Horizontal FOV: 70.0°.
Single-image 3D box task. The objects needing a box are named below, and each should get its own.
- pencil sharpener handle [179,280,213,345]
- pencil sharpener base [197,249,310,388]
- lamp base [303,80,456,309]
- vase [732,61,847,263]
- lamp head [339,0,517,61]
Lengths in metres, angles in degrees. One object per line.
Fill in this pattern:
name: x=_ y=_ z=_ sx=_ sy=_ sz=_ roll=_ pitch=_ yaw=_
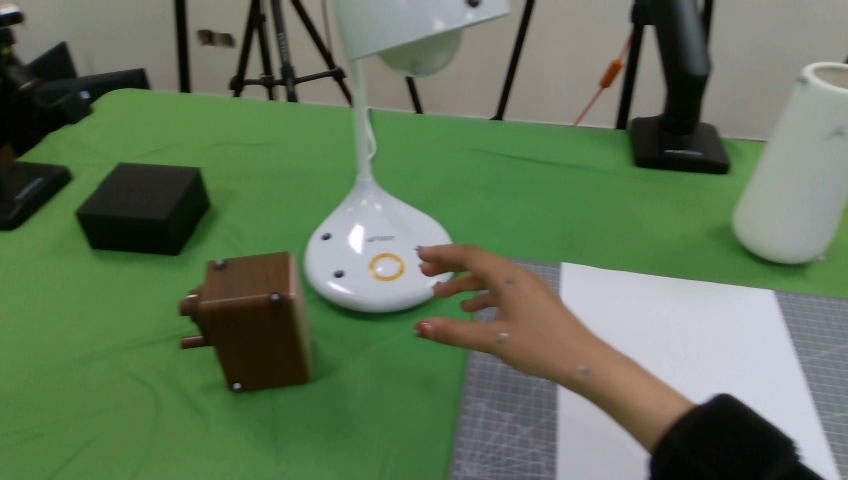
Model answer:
pencil sharpener handle: x=-0.191 y=0.063 z=0.497 sx=0.031 sy=0.068 sz=0.035 roll=-7 pitch=45 yaw=-7
pencil sharpener base: x=-0.141 y=0.068 z=0.511 sx=0.077 sy=0.108 sz=0.060 roll=-7 pitch=40 yaw=-7
lamp base: x=-0.051 y=-0.053 z=0.601 sx=0.161 sy=0.182 sz=0.177 roll=-13 pitch=39 yaw=-16
vase: x=0.388 y=-0.074 z=0.615 sx=0.098 sy=0.202 sz=0.097 roll=-1 pitch=38 yaw=1
lamp head: x=-0.010 y=-0.183 z=0.378 sx=0.112 sy=0.123 sz=0.112 roll=-18 pitch=13 yaw=4
